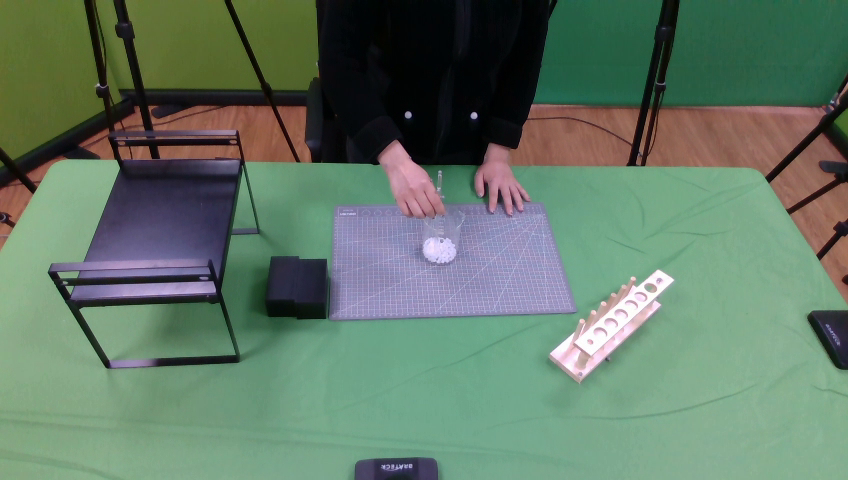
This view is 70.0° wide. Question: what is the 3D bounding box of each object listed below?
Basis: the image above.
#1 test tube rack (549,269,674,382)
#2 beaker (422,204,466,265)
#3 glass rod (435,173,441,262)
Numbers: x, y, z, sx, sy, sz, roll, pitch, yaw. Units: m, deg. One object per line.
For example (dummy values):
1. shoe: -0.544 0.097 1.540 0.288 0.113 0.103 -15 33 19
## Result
1. test tube rack: 0.325 0.134 1.047 0.242 0.085 0.066 -32 56 -30
2. beaker: 0.035 -0.008 1.151 0.084 0.101 0.073 -9 48 -13
3. glass rod: 0.025 -0.036 1.103 0.008 0.200 0.008 1 39 0
